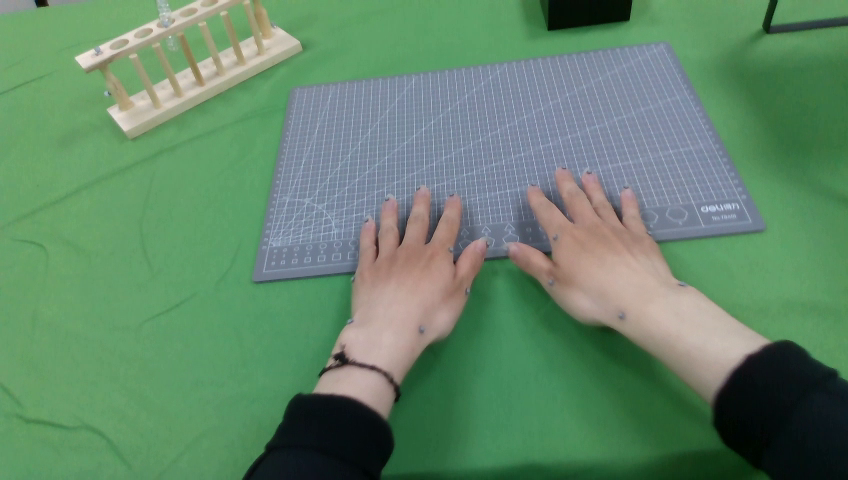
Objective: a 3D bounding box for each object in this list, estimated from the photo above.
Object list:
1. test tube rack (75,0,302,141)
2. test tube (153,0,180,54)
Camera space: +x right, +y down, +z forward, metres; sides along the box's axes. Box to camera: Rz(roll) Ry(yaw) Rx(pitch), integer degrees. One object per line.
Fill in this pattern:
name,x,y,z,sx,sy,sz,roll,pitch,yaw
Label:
test tube rack,-0.279,-0.225,0.742,0.242,0.086,0.066,-35,53,-20
test tube,-0.310,-0.294,0.704,0.017,0.151,0.017,-8,18,3
